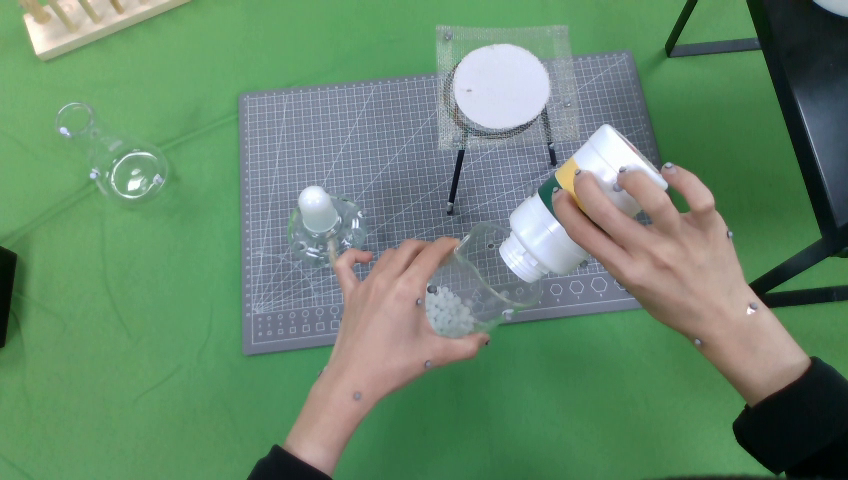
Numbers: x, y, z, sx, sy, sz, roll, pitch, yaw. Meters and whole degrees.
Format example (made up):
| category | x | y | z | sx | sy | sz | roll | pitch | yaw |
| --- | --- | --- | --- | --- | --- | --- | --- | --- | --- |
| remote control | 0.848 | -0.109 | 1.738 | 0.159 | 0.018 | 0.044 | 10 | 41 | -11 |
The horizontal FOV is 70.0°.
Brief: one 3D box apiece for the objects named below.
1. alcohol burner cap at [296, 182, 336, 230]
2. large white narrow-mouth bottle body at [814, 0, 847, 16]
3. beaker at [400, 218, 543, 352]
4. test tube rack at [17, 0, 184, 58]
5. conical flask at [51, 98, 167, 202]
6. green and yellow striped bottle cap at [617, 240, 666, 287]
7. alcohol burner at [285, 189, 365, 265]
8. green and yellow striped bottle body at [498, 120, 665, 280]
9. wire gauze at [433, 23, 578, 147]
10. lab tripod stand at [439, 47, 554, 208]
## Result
| category | x | y | z | sx | sy | sz | roll | pitch | yaw |
| --- | --- | --- | --- | --- | --- | --- | --- | --- | --- |
| alcohol burner cap | -0.099 | -0.033 | 0.542 | 0.034 | 0.048 | 0.033 | 1 | 64 | -1 |
| large white narrow-mouth bottle body | 0.351 | -0.256 | 0.416 | 0.102 | 0.196 | 0.101 | 0 | 69 | 1 |
| beaker | 0.031 | 0.040 | 0.484 | 0.084 | 0.100 | 0.073 | 16 | 48 | -31 |
| test tube rack | -0.361 | -0.307 | 0.700 | 0.242 | 0.086 | 0.066 | -26 | 72 | -7 |
| conical flask | -0.318 | -0.093 | 0.606 | 0.075 | 0.122 | 0.075 | -1 | 70 | 2 |
| green and yellow striped bottle cap | 0.217 | 0.023 | 0.604 | 0.045 | 0.020 | 0.045 | -1 | 71 | 4 |
| alcohol burner | -0.097 | -0.019 | 0.576 | 0.078 | 0.120 | 0.077 | 0 | 69 | 0 |
| green and yellow striped bottle body | 0.108 | -0.023 | 0.442 | 0.120 | 0.063 | 0.063 | -46 | 72 | 23 |
| wire gauze | 0.070 | -0.140 | 0.531 | 0.121 | 0.011 | 0.124 | -1 | 71 | 0 |
| lab tripod stand | 0.065 | -0.112 | 0.593 | 0.148 | 0.132 | 0.147 | 0 | 69 | 0 |
